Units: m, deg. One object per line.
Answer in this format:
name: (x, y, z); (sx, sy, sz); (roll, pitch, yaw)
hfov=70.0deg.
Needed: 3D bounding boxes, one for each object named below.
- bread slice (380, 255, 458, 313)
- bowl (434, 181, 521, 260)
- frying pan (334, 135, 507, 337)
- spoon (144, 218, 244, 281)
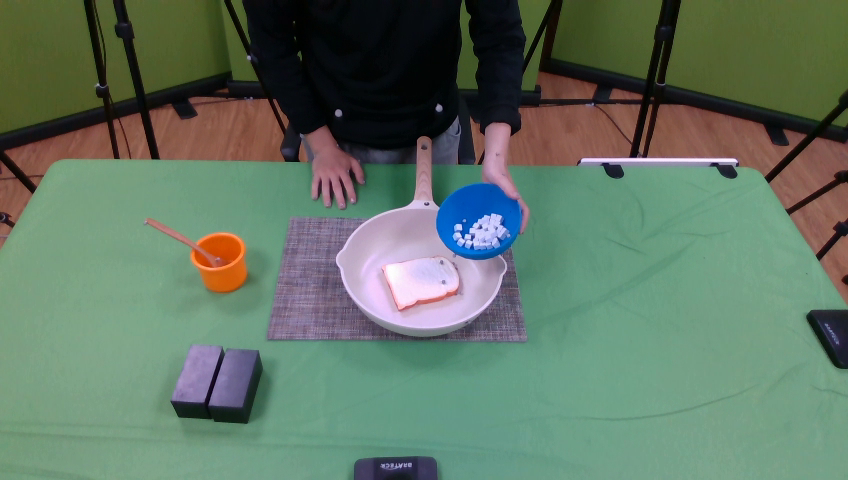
bread slice: (-0.005, 0.075, 1.119); (0.134, 0.018, 0.106); (-18, 51, -15)
bowl: (0.099, -0.020, 1.066); (0.151, 0.077, 0.150); (-7, 56, 11)
frying pan: (-0.004, -0.026, 1.160); (0.307, 0.103, 0.485); (4, 55, -2)
spoon: (-0.401, 0.015, 1.064); (0.195, 0.021, 0.041); (41, 36, -29)
